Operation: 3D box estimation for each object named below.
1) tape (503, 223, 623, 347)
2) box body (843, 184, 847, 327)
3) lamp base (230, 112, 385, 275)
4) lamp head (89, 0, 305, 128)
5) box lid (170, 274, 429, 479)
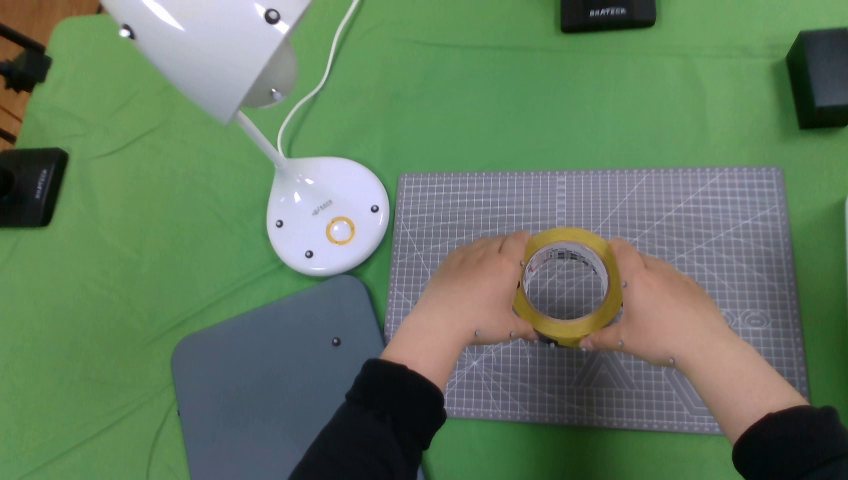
[{"bbox_3d":[0.136,0.044,0.597,0.116,0.053,0.116,-4,70,10],"label":"tape"},{"bbox_3d":[0.531,0.081,0.522,0.253,0.161,0.362,4,73,13],"label":"box body"},{"bbox_3d":[-0.151,-0.064,0.698,0.178,0.182,0.160,40,83,23],"label":"lamp base"},{"bbox_3d":[-0.159,-0.154,0.412,0.123,0.112,0.112,32,79,-15],"label":"lamp head"},{"bbox_3d":[-0.141,0.238,0.687,0.263,0.015,0.368,-22,69,4],"label":"box lid"}]
